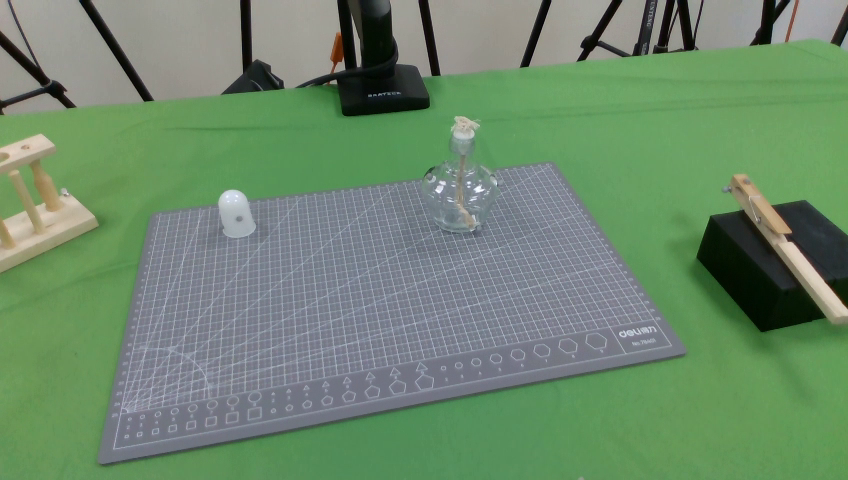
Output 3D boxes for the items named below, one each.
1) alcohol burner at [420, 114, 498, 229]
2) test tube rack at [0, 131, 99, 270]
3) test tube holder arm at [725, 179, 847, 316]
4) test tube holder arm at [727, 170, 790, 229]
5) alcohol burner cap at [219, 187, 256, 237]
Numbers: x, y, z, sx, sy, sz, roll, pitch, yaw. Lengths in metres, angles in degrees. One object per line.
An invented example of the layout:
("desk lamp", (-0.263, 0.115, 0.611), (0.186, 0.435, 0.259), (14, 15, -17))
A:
("alcohol burner", (0.035, -0.070, 0.593), (0.078, 0.120, 0.077), (1, 40, 0))
("test tube rack", (-0.443, -0.006, 0.552), (0.066, 0.086, 0.242), (31, 49, 32))
("test tube holder arm", (0.301, -0.002, 0.511), (0.015, 0.013, 0.176), (-2, 40, -2))
("test tube holder arm", (0.298, -0.035, 0.542), (0.015, 0.010, 0.087), (-2, 41, -3))
("alcohol burner cap", (-0.189, -0.030, 0.606), (0.034, 0.048, 0.033), (-1, 40, 1))
